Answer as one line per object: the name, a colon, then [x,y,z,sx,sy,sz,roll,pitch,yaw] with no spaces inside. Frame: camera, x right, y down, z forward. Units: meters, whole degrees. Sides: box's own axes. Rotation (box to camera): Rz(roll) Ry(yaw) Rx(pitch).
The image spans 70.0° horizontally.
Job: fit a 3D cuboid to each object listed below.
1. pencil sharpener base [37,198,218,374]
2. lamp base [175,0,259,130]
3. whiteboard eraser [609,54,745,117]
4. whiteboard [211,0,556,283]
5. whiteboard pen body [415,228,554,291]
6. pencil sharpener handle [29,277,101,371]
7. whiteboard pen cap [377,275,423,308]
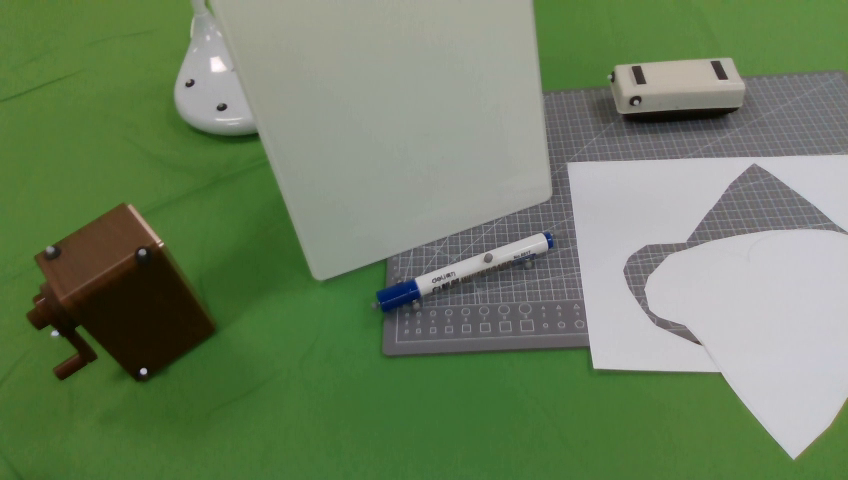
pencil sharpener base: [-0.209,0.037,0.435,0.076,0.108,0.061,-37,56,-22]
lamp base: [-0.205,-0.229,0.605,0.177,0.182,0.160,31,60,30]
whiteboard eraser: [0.237,-0.145,0.574,0.112,0.042,0.055,-2,51,5]
whiteboard: [-0.037,-0.158,0.485,0.217,0.308,0.142,-19,32,-8]
whiteboard pen body: [0.037,0.019,0.473,0.141,0.017,0.017,-19,51,-8]
pencil sharpener handle: [-0.246,0.059,0.405,0.030,0.068,0.035,-37,44,-22]
whiteboard pen cap: [-0.018,0.039,0.464,0.033,0.018,0.018,-20,51,-8]
